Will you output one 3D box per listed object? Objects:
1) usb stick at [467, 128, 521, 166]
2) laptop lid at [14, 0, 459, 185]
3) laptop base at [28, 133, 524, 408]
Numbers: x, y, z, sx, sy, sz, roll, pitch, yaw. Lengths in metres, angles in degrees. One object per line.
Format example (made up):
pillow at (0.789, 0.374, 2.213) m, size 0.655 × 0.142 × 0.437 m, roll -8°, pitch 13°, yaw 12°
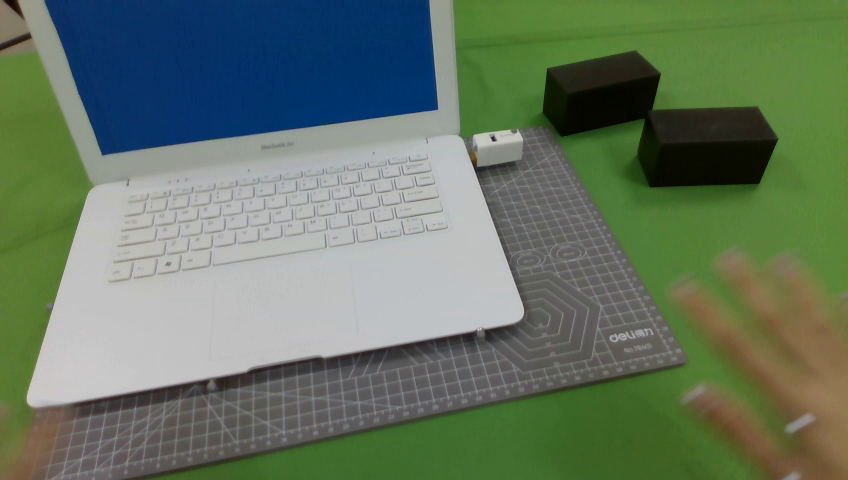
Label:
usb stick at (0.061, -0.087, 0.574) m, size 0.059 × 0.027 × 0.021 m, roll -12°, pitch 46°, yaw -4°
laptop lid at (-0.149, -0.174, 0.527) m, size 0.357 × 0.244 × 0.013 m, roll -11°, pitch 31°, yaw -5°
laptop base at (-0.117, 0.009, 0.507) m, size 0.355 × 0.023 × 0.233 m, roll -9°, pitch 49°, yaw -6°
